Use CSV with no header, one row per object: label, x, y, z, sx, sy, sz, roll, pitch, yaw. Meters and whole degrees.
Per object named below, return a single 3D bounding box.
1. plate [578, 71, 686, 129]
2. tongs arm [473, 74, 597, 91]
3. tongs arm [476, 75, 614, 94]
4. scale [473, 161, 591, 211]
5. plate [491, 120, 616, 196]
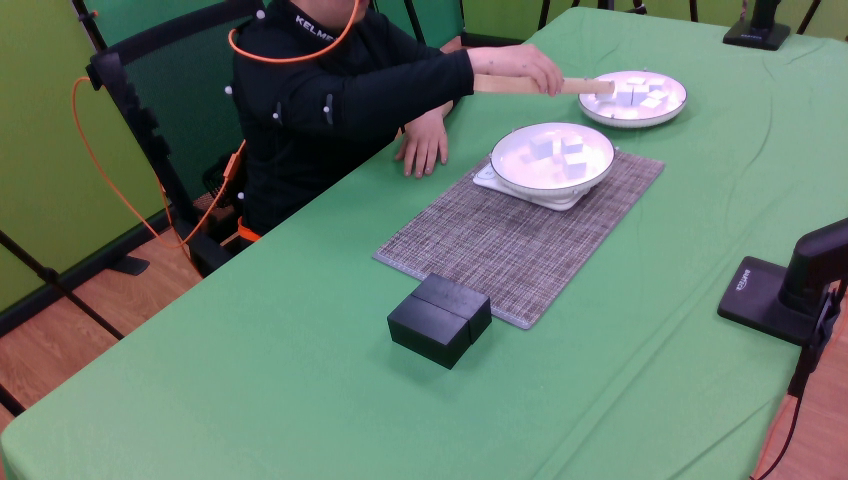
plate,0.416,-0.280,1.221,0.209,0.038,0.208,-5,41,5
tongs arm,0.213,-0.283,1.100,0.390,0.028,0.028,-13,27,-43
tongs arm,0.231,-0.277,1.083,0.050,0.026,0.387,19,22,39
scale,0.202,-0.121,1.074,0.199,0.032,0.149,23,49,33
plate,0.221,-0.137,1.038,0.207,0.039,0.206,-6,41,5
